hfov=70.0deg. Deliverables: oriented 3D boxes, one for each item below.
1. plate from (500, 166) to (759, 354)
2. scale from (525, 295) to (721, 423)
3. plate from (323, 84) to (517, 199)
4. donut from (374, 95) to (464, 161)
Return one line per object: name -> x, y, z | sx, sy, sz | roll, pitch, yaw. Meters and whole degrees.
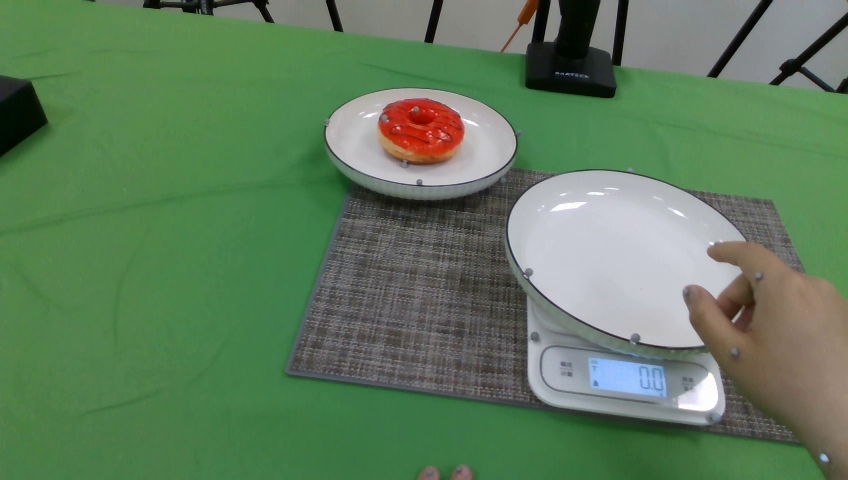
plate -> 0.165, 0.014, 0.507 | 0.208, 0.039, 0.205 | 4, 44, -3
scale -> 0.160, 0.054, 0.513 | 0.148, 0.032, 0.199 | 7, 44, 2
plate -> -0.005, -0.107, 0.661 | 0.209, 0.038, 0.207 | 3, 41, -2
donut -> -0.005, -0.122, 0.662 | 0.099, 0.048, 0.098 | 4, 41, -3
